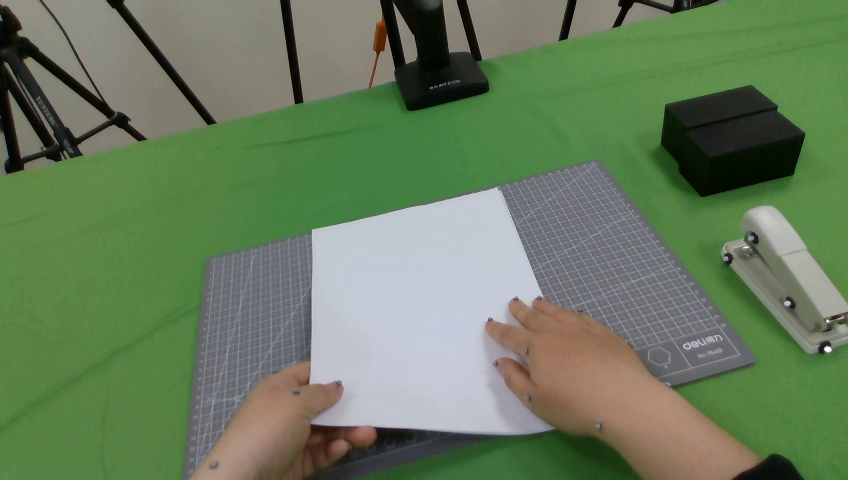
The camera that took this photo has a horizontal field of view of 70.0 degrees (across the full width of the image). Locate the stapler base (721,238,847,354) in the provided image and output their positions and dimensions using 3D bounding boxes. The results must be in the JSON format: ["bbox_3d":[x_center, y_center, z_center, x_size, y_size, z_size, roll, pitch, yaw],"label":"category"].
[{"bbox_3d":[0.301,0.036,0.506,0.041,0.025,0.129,-16,43,-2],"label":"stapler base"}]

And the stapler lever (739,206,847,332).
[{"bbox_3d":[0.298,0.019,0.488,0.027,0.040,0.116,-16,43,-2],"label":"stapler lever"}]
